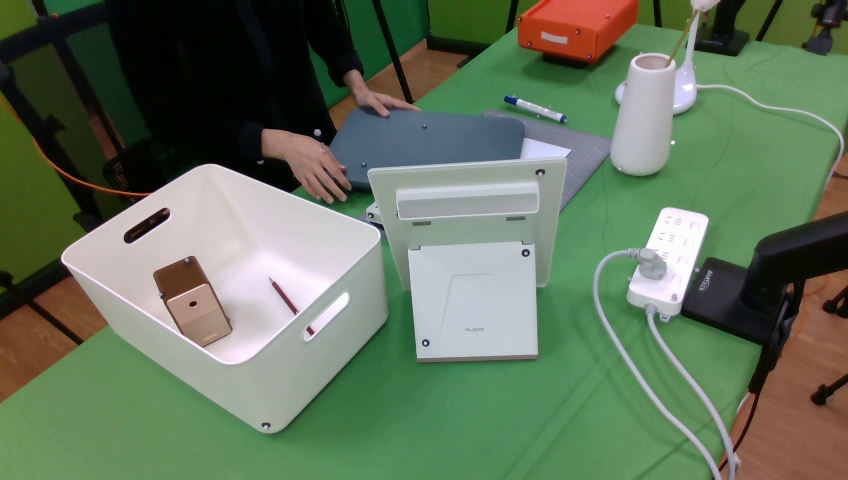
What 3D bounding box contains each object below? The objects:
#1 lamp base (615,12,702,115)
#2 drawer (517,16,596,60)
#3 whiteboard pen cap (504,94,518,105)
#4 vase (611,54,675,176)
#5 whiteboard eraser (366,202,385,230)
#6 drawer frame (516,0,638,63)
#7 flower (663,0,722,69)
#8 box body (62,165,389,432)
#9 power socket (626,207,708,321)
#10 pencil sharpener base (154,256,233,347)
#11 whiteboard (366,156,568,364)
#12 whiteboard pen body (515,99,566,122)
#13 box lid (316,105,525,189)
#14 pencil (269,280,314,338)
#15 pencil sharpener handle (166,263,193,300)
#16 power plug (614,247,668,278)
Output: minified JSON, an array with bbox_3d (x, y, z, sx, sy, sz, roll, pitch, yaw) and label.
[{"bbox_3d":[0.484,-0.364,1.211,0.180,0.181,0.159,-15,41,-14],"label":"lamp base"},{"bbox_3d":[0.352,-0.506,1.405,0.193,0.073,0.212,23,49,32],"label":"drawer"},{"bbox_3d":[0.190,-0.299,1.292,0.033,0.018,0.018,30,52,28],"label":"whiteboard pen cap"},{"bbox_3d":[0.377,-0.209,1.031,0.098,0.201,0.097,-3,40,3],"label":"vase"},{"bbox_3d":[-0.037,-0.038,1.006,0.112,0.042,0.055,16,48,25],"label":"whiteboard eraser"},{"bbox_3d":[0.355,-0.508,1.410,0.200,0.083,0.214,23,51,32],"label":"drawer frame"},{"bbox_3d":[0.379,-0.261,0.965,0.044,0.362,0.038,20,53,5],"label":"flower"},{"bbox_3d":[-0.255,0.065,0.827,0.361,0.161,0.255,21,48,29],"label":"box body"},{"bbox_3d":[0.359,0.025,0.886,0.072,0.033,0.227,16,46,26],"label":"power socket"},{"bbox_3d":[-0.321,0.087,0.843,0.061,0.107,0.076,-27,44,-20],"label":"pencil sharpener base"},{"bbox_3d":[0.059,0.050,0.738,0.217,0.307,0.143,-2,60,5],"label":"whiteboard"},{"bbox_3d":[0.233,-0.274,1.262,0.139,0.017,0.017,28,51,29],"label":"whiteboard pen body"},{"bbox_3d":[0.004,-0.173,1.157,0.371,0.015,0.262,7,44,9],"label":"box lid"},{"bbox_3d":[-0.188,0.106,0.880,0.012,0.012,0.192,-28,42,-23],"label":"pencil"},{"bbox_3d":[-0.352,0.053,0.868,0.036,0.068,0.030,-17,40,-28],"label":"pencil sharpener handle"},{"bbox_3d":[0.306,0.031,0.851,0.072,0.053,0.035,24,49,33],"label":"power plug"}]
